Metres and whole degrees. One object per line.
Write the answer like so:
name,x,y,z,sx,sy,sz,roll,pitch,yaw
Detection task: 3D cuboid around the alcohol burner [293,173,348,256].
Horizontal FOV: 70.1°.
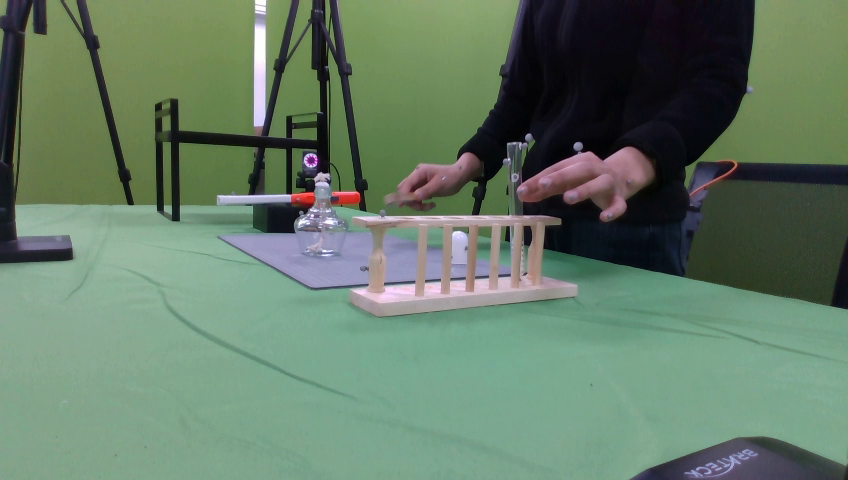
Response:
alcohol burner,-0.146,-0.036,0.859,0.078,0.119,0.078,4,8,0

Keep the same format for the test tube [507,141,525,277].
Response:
test tube,0.101,-0.032,0.663,0.017,0.150,0.017,-3,9,1

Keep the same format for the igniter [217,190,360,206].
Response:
igniter,-0.248,-0.080,1.150,0.278,0.025,0.057,-5,8,-29

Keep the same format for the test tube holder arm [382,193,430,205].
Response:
test tube holder arm,-0.027,-0.070,1.011,0.013,0.015,0.179,-8,3,21

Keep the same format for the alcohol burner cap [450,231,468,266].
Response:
alcohol burner cap,0.046,0.011,0.838,0.034,0.048,0.034,2,6,0

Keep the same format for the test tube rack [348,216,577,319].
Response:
test tube rack,0.048,0.021,0.619,0.244,0.085,0.066,-2,9,-31

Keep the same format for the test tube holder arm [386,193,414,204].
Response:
test tube holder arm,-0.038,-0.066,0.967,0.010,0.015,0.088,-8,3,23
